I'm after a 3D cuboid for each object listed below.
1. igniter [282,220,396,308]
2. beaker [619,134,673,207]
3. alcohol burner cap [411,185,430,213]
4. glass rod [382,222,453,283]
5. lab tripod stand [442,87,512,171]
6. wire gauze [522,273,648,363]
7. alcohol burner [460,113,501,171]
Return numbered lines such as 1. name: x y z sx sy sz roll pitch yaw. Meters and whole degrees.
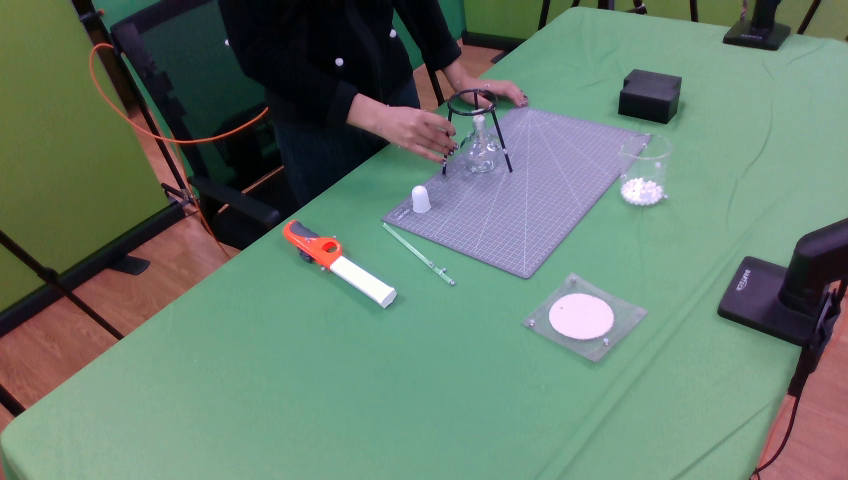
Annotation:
1. igniter: -0.146 0.032 0.966 0.274 0.025 0.057 30 65 37
2. beaker: 0.357 -0.111 0.986 0.084 0.101 0.073 -10 40 1
3. alcohol burner cap: -0.008 -0.074 1.050 0.034 0.048 0.033 -4 41 4
4. glass rod: -0.014 0.016 0.976 0.008 0.008 0.198 -30 44 -22
5. lab tripod stand: 0.097 -0.200 1.106 0.148 0.132 0.147 -4 41 4
6. wire gauze: 0.220 0.105 0.828 0.125 0.011 0.120 -35 47 -30
7. alcohol burner: 0.102 -0.186 1.106 0.078 0.119 0.077 -4 42 4
